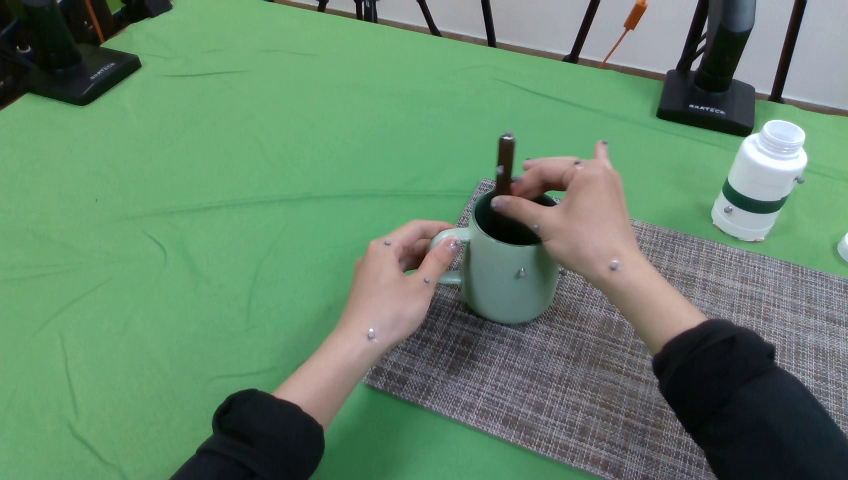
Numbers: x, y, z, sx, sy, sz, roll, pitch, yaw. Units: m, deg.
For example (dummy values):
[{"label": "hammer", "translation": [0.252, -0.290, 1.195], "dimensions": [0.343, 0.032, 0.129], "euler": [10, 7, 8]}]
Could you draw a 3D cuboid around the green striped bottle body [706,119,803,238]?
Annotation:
[{"label": "green striped bottle body", "translation": [0.343, -0.065, 0.627], "dimensions": [0.063, 0.120, 0.062], "euler": [0, 46, 0]}]

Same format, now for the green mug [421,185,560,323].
[{"label": "green mug", "translation": [0.060, 0.016, 0.550], "dimensions": [0.125, 0.106, 0.091], "euler": [-5, 46, -5]}]

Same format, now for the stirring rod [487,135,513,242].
[{"label": "stirring rod", "translation": [0.064, -0.027, 0.531], "dimensions": [0.014, 0.178, 0.006], "euler": [14, 56, 12]}]

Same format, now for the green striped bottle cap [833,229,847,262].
[{"label": "green striped bottle cap", "translation": [0.454, 0.008, 0.630], "dimensions": [0.044, 0.020, 0.044], "euler": [1, 42, -1]}]
